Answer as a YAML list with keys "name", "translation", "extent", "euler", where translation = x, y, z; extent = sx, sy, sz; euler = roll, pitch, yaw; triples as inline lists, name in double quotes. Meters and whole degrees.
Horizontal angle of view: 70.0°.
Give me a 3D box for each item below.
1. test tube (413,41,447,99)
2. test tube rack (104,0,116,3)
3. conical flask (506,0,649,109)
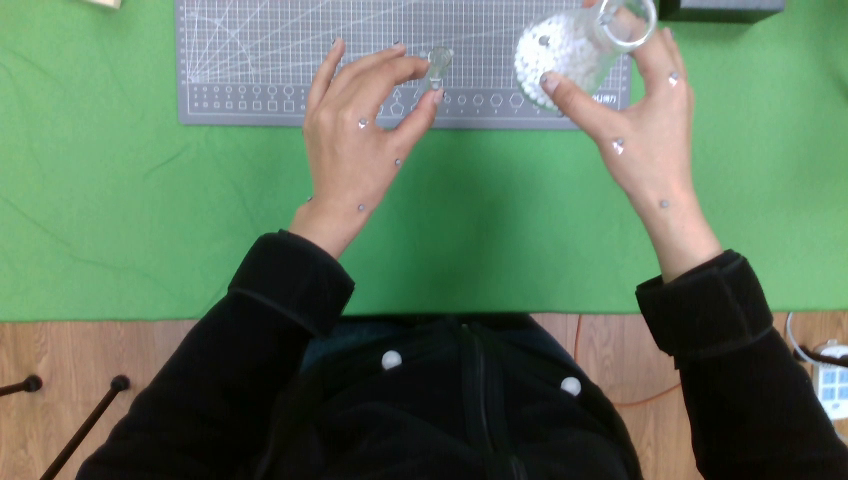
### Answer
- name: "test tube"
  translation: [0.003, -0.131, 0.482]
  extent: [0.017, 0.150, 0.017]
  euler: [0, 94, -4]
- name: "test tube rack"
  translation: [-0.299, -0.349, 0.530]
  extent: [0.067, 0.085, 0.242]
  euler: [14, 96, -4]
- name: "conical flask"
  translation: [0.107, -0.136, 0.416]
  extent: [0.075, 0.121, 0.075]
  euler: [-1, 93, -9]
